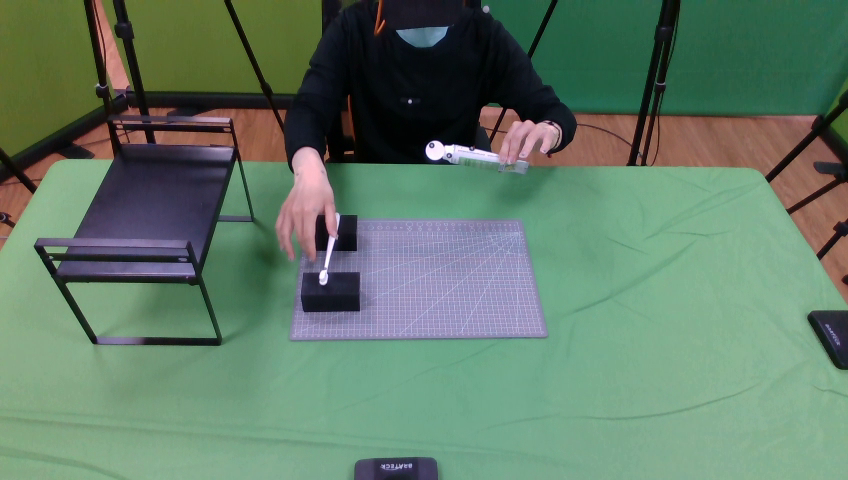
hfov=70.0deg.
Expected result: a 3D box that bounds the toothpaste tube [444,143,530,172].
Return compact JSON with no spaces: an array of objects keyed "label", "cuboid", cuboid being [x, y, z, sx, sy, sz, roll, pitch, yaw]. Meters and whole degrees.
[{"label":"toothpaste tube","cuboid":[0.112,-0.153,1.124,0.165,0.055,0.034,11,79,2]}]

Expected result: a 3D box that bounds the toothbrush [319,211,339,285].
[{"label":"toothbrush","cuboid":[-0.172,0.009,1.102,0.014,0.017,0.180,-4,45,7]}]

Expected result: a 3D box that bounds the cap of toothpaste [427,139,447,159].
[{"label":"cap of toothpaste","cuboid":[0.023,-0.167,1.108,0.037,0.037,0.011,-6,15,-10]}]
